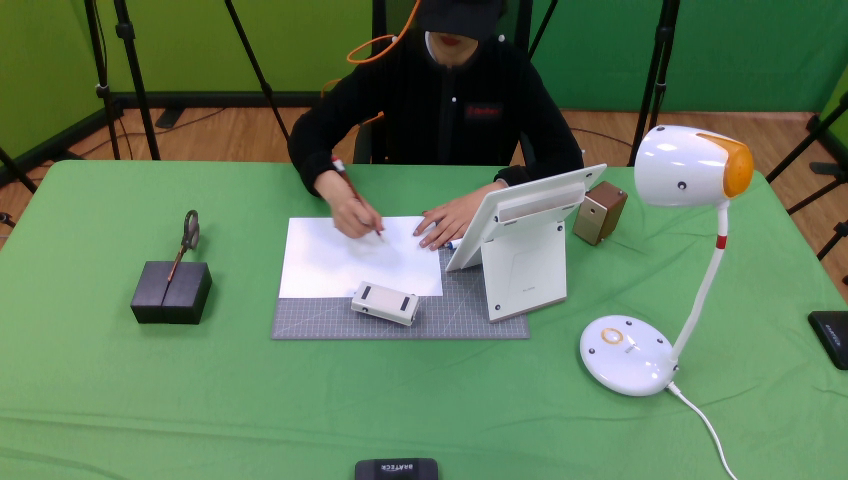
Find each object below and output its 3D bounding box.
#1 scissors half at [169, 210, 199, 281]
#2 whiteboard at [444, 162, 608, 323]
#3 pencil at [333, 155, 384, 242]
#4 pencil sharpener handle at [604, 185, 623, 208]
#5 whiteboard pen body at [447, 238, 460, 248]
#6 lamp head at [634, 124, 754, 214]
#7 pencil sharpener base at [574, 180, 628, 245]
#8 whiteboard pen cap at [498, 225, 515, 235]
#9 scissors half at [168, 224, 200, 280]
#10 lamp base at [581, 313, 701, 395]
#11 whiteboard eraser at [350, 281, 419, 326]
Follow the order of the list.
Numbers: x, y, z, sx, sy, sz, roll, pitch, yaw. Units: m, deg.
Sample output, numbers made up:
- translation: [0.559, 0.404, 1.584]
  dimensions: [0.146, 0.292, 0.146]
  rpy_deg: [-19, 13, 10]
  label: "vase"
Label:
- translation: [-0.438, 0.007, 1.098]
  dimensions: [0.013, 0.040, 0.174]
  rpy_deg: [3, 47, -3]
  label: "scissors half"
- translation: [0.186, 0.025, 1.029]
  dimensions: [0.217, 0.306, 0.143]
  rpy_deg: [-14, 68, -18]
  label: "whiteboard"
- translation: [-0.119, -0.074, 1.133]
  dimensions: [0.012, 0.195, 0.012]
  rpy_deg: [-23, 24, 11]
  label: "pencil"
- translation: [0.390, -0.091, 1.236]
  dimensions: [0.030, 0.068, 0.036]
  rpy_deg: [-33, 70, -31]
  label: "pencil sharpener handle"
- translation: [0.112, -0.005, 1.204]
  dimensions: [0.141, 0.017, 0.017]
  rpy_deg: [-13, 49, -18]
  label: "whiteboard pen body"
- translation: [0.351, -0.089, 0.776]
  dimensions: [0.112, 0.113, 0.122]
  rpy_deg: [-30, 30, -28]
  label: "lamp head"
- translation: [0.355, -0.056, 1.217]
  dimensions: [0.076, 0.107, 0.061]
  rpy_deg: [-33, 56, -31]
  label: "pencil sharpener base"
- translation: [0.166, -0.019, 1.222]
  dimensions: [0.033, 0.018, 0.018]
  rpy_deg: [-14, 49, -19]
  label: "whiteboard pen cap"
- translation: [-0.440, 0.023, 1.111]
  dimensions: [0.013, 0.040, 0.174]
  rpy_deg: [7, 29, -6]
  label: "scissors half"
- translation: [0.361, 0.144, 0.973]
  dimensions: [0.178, 0.181, 0.160]
  rpy_deg: [34, 53, 23]
  label: "lamp base"
- translation: [-0.069, 0.113, 1.065]
  dimensions: [0.112, 0.042, 0.055]
  rpy_deg: [14, 46, 9]
  label: "whiteboard eraser"
